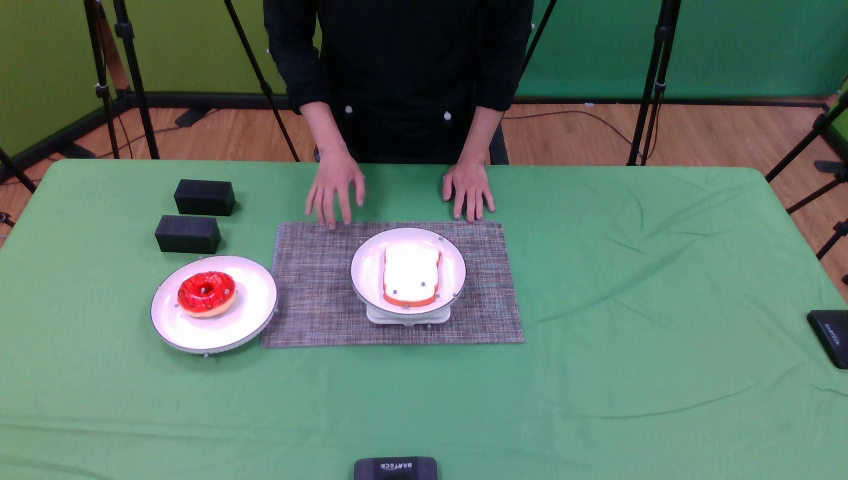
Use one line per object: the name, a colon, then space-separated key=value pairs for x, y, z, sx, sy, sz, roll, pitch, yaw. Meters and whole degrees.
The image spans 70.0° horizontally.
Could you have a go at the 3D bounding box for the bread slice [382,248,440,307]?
bread slice: x=-0.023 y=0.064 z=1.077 sx=0.105 sy=0.019 sz=0.130 roll=2 pitch=45 yaw=0

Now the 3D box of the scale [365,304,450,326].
scale: x=-0.032 y=0.071 z=1.113 sx=0.149 sy=0.032 sz=0.199 roll=0 pitch=46 yaw=-4

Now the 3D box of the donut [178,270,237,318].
donut: x=-0.375 y=0.092 z=1.053 sx=0.099 sy=0.048 sz=0.098 roll=1 pitch=42 yaw=0

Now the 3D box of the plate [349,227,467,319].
plate: x=-0.029 y=0.061 z=1.077 sx=0.209 sy=0.038 sz=0.208 roll=2 pitch=46 yaw=-2

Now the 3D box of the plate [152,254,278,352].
plate: x=-0.357 y=0.111 z=1.052 sx=0.208 sy=0.039 sz=0.206 roll=2 pitch=46 yaw=-2
